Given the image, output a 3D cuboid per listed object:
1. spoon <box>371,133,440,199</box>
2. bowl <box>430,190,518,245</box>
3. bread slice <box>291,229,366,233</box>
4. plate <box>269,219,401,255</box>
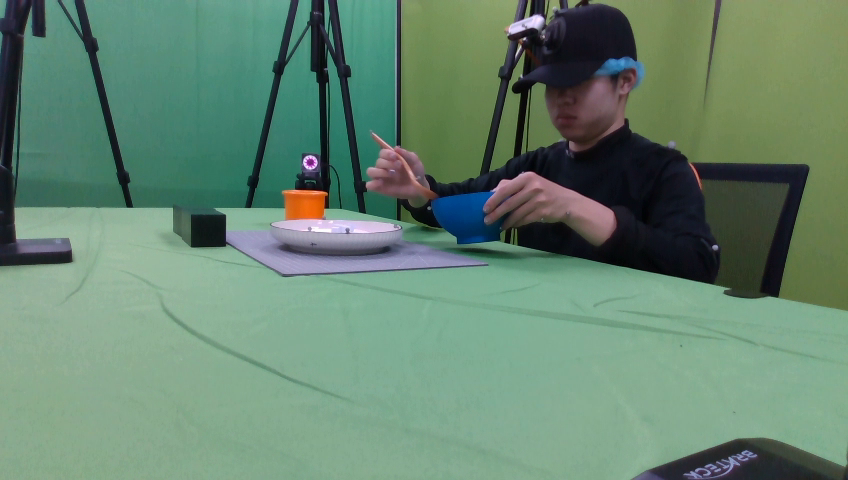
[{"bbox_3d":[-0.035,-0.128,1.034,0.193,0.021,0.042,51,6,30],"label":"spoon"},{"bbox_3d":[0.087,-0.034,1.013,0.151,0.076,0.151,-5,-2,0],"label":"bowl"},{"bbox_3d":[-0.143,-0.003,0.953,0.135,0.018,0.106,-1,8,-37],"label":"bread slice"},{"bbox_3d":[-0.140,-0.006,0.958,0.209,0.038,0.209,3,7,0],"label":"plate"}]
